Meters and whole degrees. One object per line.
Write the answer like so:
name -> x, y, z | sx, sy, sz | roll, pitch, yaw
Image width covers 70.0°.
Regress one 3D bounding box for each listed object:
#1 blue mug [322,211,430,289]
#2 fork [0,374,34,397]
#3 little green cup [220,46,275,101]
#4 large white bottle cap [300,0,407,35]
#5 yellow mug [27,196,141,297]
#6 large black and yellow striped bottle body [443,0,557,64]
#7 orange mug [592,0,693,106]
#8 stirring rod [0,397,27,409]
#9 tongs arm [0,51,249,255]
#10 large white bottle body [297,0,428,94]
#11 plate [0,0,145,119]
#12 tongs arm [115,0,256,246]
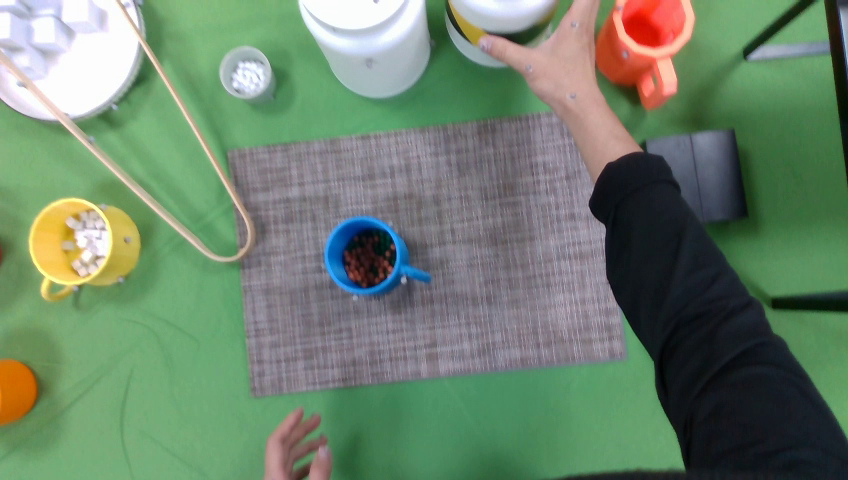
blue mug -> -0.048, 0.020, 0.685 | 0.116, 0.106, 0.082 | 19, 87, 3
fork -> -0.560, 0.166, 0.678 | 0.209, 0.018, 0.028 | 10, 85, -41
little green cup -> -0.213, -0.200, 0.740 | 0.061, 0.038, 0.061 | 0, 88, 2
large white bottle cap -> -0.068, -0.255, 0.579 | 0.115, 0.018, 0.114 | 0, 87, 3
yellow mug -> -0.412, 0.013, 0.723 | 0.100, 0.064, 0.131 | 32, 90, 3
large black and yellow striped bottle body -> 0.084, -0.285, 0.660 | 0.131, 0.184, 0.130 | 0, 86, 3
orange mug -> 0.252, -0.221, 0.692 | 0.083, 0.101, 0.125 | -17, 81, 1
stirring rod -> -0.550, 0.183, 0.680 | 0.006, 0.177, 0.014 | -19, 66, 44
tongs arm -> -0.366, -0.113, 0.723 | 0.051, 0.026, 0.385 | -45, 93, -4
large white bottle body -> -0.063, -0.250, 0.664 | 0.130, 0.185, 0.130 | 0, 86, 3
plate -> -0.444, -0.250, 0.752 | 0.207, 0.039, 0.207 | 0, 87, 2
tongs arm -> -0.301, -0.166, 0.726 | 0.028, 0.027, 0.388 | -31, 93, -8
